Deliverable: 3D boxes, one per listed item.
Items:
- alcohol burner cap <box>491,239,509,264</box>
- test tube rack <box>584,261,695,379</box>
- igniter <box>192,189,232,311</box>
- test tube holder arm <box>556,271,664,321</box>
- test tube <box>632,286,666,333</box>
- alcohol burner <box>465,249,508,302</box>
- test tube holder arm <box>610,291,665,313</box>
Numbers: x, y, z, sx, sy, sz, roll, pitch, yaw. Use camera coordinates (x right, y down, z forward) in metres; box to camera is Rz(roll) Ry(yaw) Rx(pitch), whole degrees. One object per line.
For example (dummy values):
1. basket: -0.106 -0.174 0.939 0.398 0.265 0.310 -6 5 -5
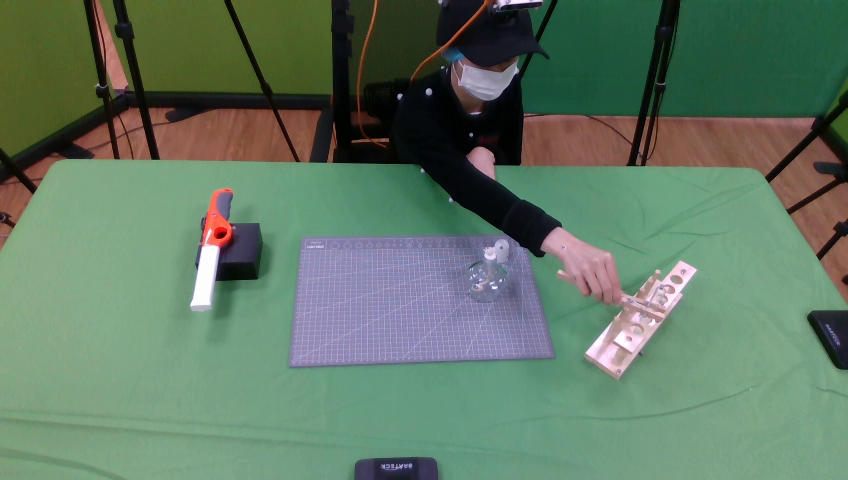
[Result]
1. alcohol burner cap: 0.150 0.020 1.174 0.034 0.048 0.033 1 46 -1
2. test tube rack: 0.380 0.127 1.062 0.066 0.085 0.242 34 53 26
3. igniter: -0.381 0.008 1.092 0.057 0.025 0.274 -1 50 -7
4. test tube holder arm: 0.301 0.091 0.989 0.178 0.015 0.013 22 47 13
5. test tube: 0.363 0.125 0.992 0.017 0.151 0.017 1 49 -1
6. alcohol burner: 0.114 0.057 1.085 0.078 0.120 0.077 2 48 -2
7. test tube holder arm: 0.345 0.102 0.984 0.088 0.015 0.010 16 47 7
